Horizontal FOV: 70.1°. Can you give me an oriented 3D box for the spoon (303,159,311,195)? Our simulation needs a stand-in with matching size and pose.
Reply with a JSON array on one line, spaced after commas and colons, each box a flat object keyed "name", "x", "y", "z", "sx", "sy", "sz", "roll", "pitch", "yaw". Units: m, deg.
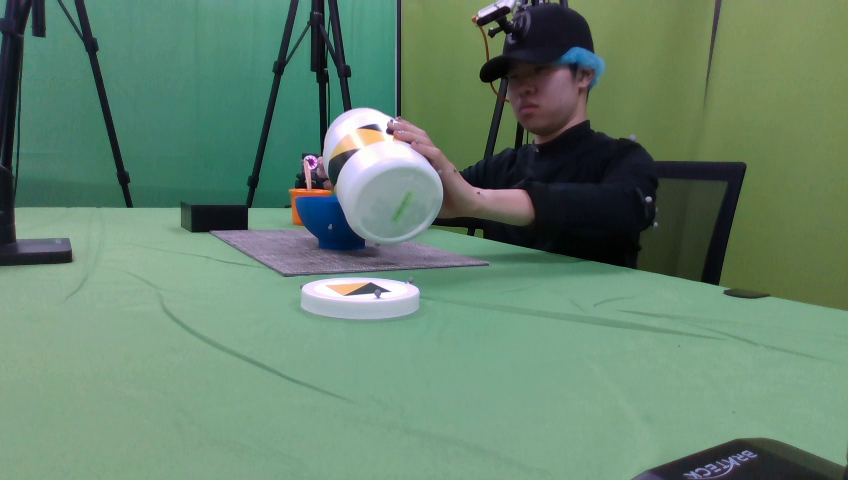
[{"name": "spoon", "x": -0.256, "y": -0.113, "z": 1.341, "sx": 0.042, "sy": 0.193, "sz": 0.021, "roll": 2, "pitch": -38, "yaw": -18}]

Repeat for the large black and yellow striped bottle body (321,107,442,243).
[{"name": "large black and yellow striped bottle body", "x": -0.066, "y": -0.096, "z": 0.824, "sx": 0.131, "sy": 0.130, "sz": 0.183, "roll": -1, "pitch": 34, "yaw": -24}]

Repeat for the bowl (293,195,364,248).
[{"name": "bowl", "x": -0.132, "y": -0.030, "z": 0.962, "sx": 0.151, "sy": 0.077, "sz": 0.151, "roll": 2, "pitch": 7, "yaw": 0}]

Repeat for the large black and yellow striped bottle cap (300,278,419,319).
[{"name": "large black and yellow striped bottle cap", "x": -0.062, "y": 0.055, "z": 0.588, "sx": 0.115, "sy": 0.019, "sz": 0.115, "roll": 1, "pitch": 6, "yaw": 0}]
